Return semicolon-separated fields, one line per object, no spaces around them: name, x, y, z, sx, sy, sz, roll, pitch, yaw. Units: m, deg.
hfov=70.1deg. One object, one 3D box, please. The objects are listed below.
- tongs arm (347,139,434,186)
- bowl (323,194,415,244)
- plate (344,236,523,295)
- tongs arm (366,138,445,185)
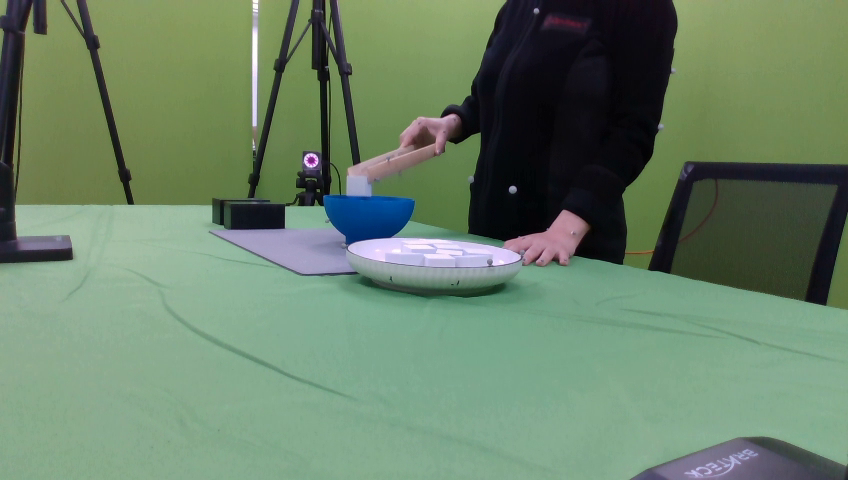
tongs arm;-0.054;-0.151;1.130;0.028;0.028;0.388;-7;14;22
bowl;-0.091;-0.032;0.986;0.151;0.077;0.151;2;7;0
plate;0.010;0.030;0.707;0.208;0.039;0.207;3;8;0
tongs arm;-0.032;-0.152;1.122;0.050;0.026;0.386;-2;15;25
